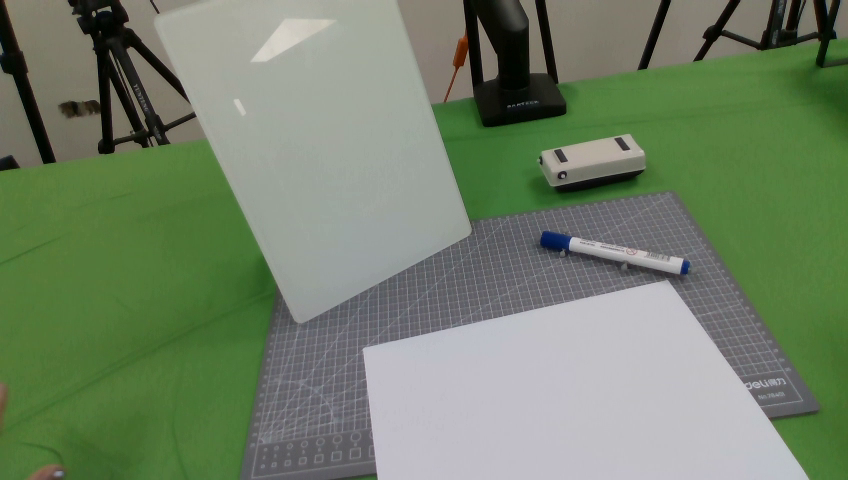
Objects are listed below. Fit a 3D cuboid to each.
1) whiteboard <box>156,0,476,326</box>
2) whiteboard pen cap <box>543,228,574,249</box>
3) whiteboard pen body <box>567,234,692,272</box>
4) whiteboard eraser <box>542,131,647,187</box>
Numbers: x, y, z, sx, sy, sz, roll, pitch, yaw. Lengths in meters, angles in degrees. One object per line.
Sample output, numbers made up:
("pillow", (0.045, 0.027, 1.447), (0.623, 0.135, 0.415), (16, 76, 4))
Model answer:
("whiteboard", (-0.109, -0.108, 0.639), (0.217, 0.307, 0.142), (-27, 21, -19))
("whiteboard pen cap", (0.142, -0.001, 0.630), (0.033, 0.018, 0.018), (15, 45, 25))
("whiteboard pen body", (0.191, 0.010, 0.602), (0.140, 0.017, 0.017), (13, 44, 27))
("whiteboard eraser", (0.200, -0.094, 0.715), (0.113, 0.042, 0.055), (-10, 41, -1))
